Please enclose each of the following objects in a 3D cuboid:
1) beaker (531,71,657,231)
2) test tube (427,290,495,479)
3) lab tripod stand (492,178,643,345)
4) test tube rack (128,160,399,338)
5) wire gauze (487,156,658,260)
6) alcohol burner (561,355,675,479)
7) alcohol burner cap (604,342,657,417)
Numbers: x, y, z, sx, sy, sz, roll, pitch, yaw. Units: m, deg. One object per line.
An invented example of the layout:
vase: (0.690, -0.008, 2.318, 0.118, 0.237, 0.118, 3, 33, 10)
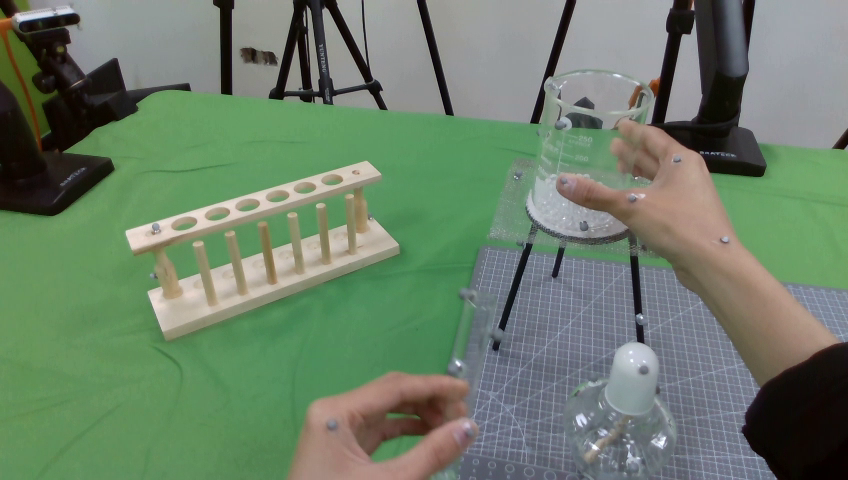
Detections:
beaker: (0.118, -0.065, 0.449, 0.074, 0.101, 0.083, -23, 43, -29)
test tube: (0.017, 0.093, 0.323, 0.017, 0.151, 0.017, 7, 27, -3)
lab tripod stand: (0.130, 0.026, 0.520, 0.148, 0.132, 0.147, 1, 36, -1)
test tube rack: (-0.147, 0.002, 0.599, 0.243, 0.086, 0.066, -20, 41, -24)
wire gauze: (0.121, -0.027, 0.481, 0.121, 0.011, 0.124, 9, 40, 12)
alcohol burner: (0.136, 0.116, 0.415, 0.078, 0.120, 0.077, 0, 39, 0)
alcohol burner cap: (0.136, 0.088, 0.394, 0.034, 0.048, 0.033, -3, 36, 2)
